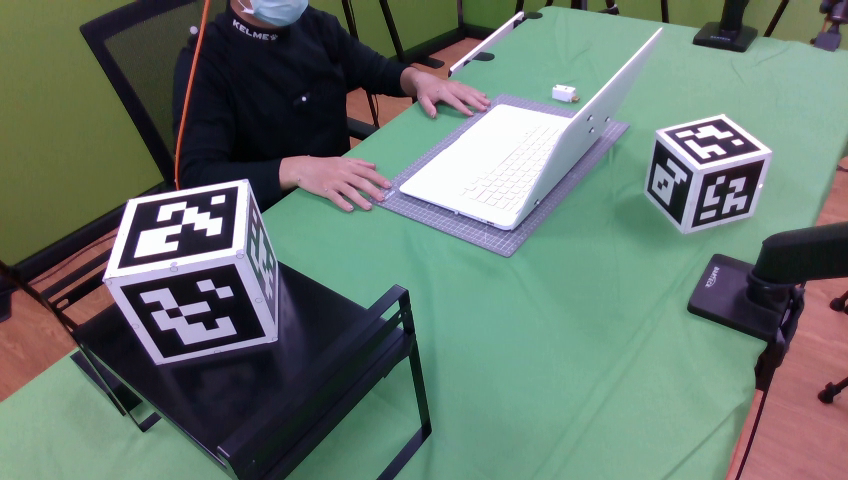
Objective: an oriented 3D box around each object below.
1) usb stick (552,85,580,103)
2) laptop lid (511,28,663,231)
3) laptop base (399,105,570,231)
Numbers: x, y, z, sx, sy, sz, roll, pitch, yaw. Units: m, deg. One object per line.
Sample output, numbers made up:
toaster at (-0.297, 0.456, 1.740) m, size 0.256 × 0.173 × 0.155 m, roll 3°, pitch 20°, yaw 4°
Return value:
usb stick at (0.303, -0.308, 1.282) m, size 0.059 × 0.027 × 0.021 m, roll 25°, pitch 46°, yaw 29°
laptop lid at (0.265, -0.179, 0.972) m, size 0.013 × 0.242 × 0.357 m, roll 36°, pitch 53°, yaw 14°
laptop base at (0.149, -0.147, 1.123) m, size 0.233 × 0.023 × 0.355 m, roll 20°, pitch 47°, yaw 32°
